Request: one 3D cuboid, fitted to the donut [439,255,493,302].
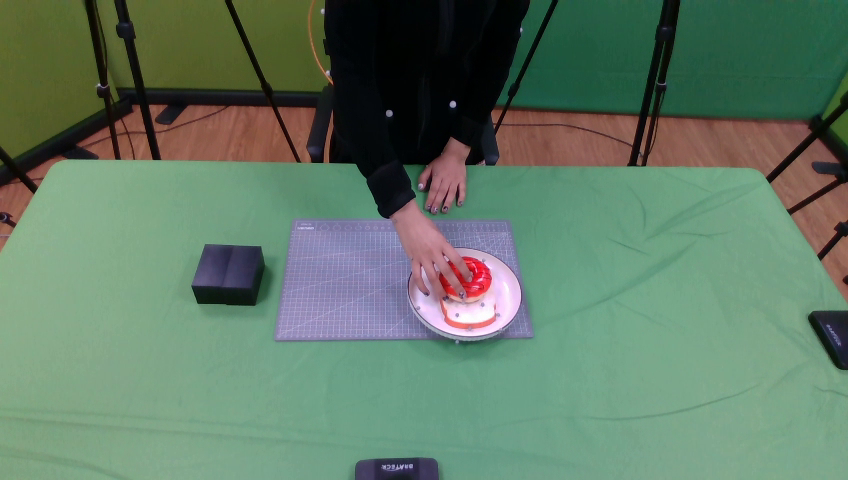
[{"bbox_3d":[0.075,0.068,1.085,0.099,0.048,0.098,1,46,-1],"label":"donut"}]

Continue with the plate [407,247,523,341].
[{"bbox_3d":[0.073,0.099,1.093,0.209,0.038,0.208,2,46,-2],"label":"plate"}]

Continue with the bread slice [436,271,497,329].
[{"bbox_3d":[0.081,0.103,1.091,0.105,0.019,0.130,-3,46,-5],"label":"bread slice"}]
